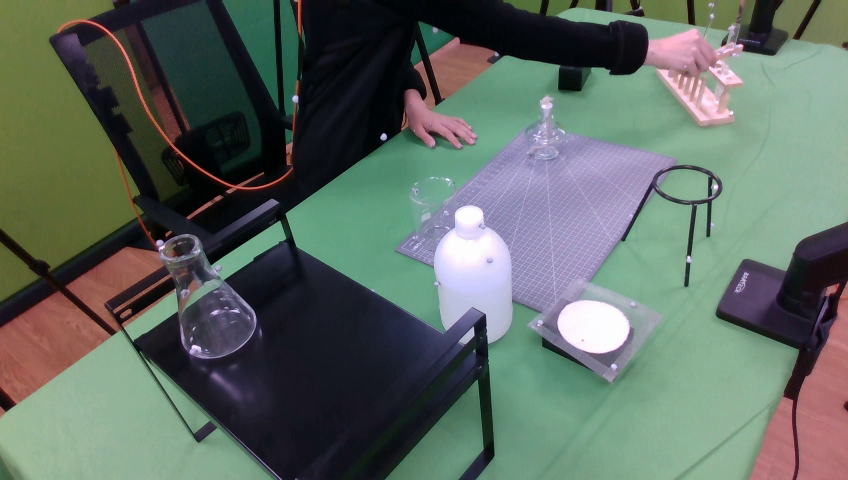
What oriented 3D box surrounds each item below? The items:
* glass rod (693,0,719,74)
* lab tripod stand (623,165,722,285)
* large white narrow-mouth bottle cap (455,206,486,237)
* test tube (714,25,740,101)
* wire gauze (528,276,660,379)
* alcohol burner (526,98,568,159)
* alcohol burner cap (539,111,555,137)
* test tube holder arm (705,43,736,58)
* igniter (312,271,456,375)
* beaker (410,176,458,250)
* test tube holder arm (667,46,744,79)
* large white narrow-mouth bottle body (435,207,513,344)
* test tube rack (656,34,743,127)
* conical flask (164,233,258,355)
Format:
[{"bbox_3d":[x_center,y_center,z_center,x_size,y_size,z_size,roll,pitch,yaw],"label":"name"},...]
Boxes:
[{"bbox_3d":[0.561,-0.401,1.214,0.008,0.200,0.008,-1,48,2],"label":"glass rod"},{"bbox_3d":[0.365,-0.030,0.874,0.148,0.132,0.147,-6,41,6],"label":"lab tripod stand"},{"bbox_3d":[0.057,-0.023,0.734,0.038,0.024,0.037,-4,41,4],"label":"large white narrow-mouth bottle cap"},{"bbox_3d":[0.569,-0.329,1.137,0.017,0.151,0.017,-4,41,4],"label":"test tube"},{"bbox_3d":[0.214,0.103,0.763,0.124,0.011,0.122,30,53,35],"label":"wire gauze"},{"bbox_3d":[0.228,-0.210,1.118,0.078,0.119,0.077,-5,43,5],"label":"alcohol burner"},{"bbox_3d":[0.243,-0.232,1.197,0.034,0.048,0.033,-5,40,4],"label":"alcohol burner cap"},{"bbox_3d":[0.545,-0.343,1.114,0.088,0.015,0.010,-29,47,-26],"label":"test tube holder arm"},{"bbox_3d":[-0.068,0.111,0.859,0.274,0.025,0.057,27,61,34],"label":"igniter"},{"bbox_3d":[0.022,-0.041,0.964,0.073,0.101,0.084,28,51,35],"label":"beaker"},{"bbox_3d":[0.510,-0.322,1.094,0.179,0.015,0.013,-22,44,-20],"label":"test tube holder arm"},{"bbox_3d":[0.065,0.041,0.791,0.102,0.195,0.101,-4,41,4],"label":"large white narrow-mouth bottle body"},{"bbox_3d":[0.553,-0.331,1.233,0.067,0.085,0.241,-7,40,2],"label":"test tube rack"},{"bbox_3d":[-0.217,0.051,0.601,0.075,0.122,0.075,-4,40,4],"label":"conical flask"}]
